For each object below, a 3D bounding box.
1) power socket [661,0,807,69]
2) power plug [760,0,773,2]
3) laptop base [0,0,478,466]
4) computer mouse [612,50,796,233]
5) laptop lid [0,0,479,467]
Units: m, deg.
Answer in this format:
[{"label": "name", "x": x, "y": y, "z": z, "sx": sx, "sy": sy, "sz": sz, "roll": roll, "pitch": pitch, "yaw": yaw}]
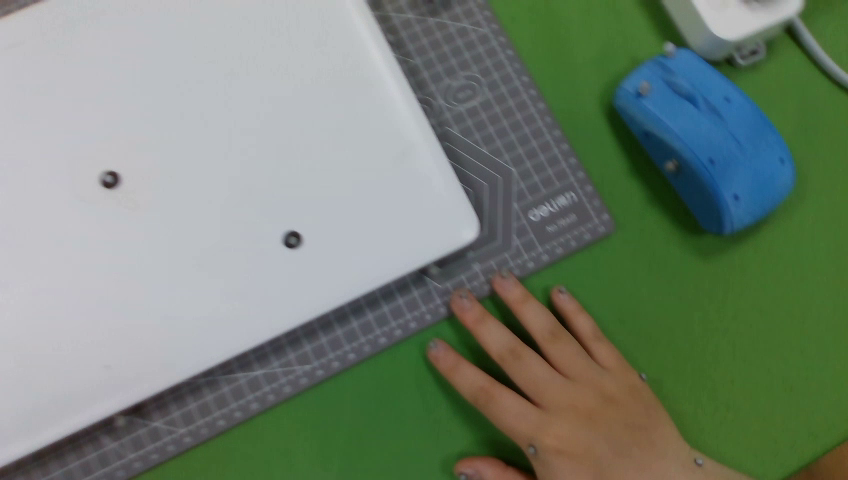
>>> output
[{"label": "power socket", "x": 0.170, "y": -0.219, "z": 0.403, "sx": 0.072, "sy": 0.033, "sz": 0.226, "roll": -24, "pitch": 81, "yaw": -7}, {"label": "power plug", "x": 0.230, "y": -0.169, "z": 0.375, "sx": 0.072, "sy": 0.053, "sz": 0.035, "roll": -13, "pitch": 81, "yaw": -7}, {"label": "laptop base", "x": -0.173, "y": -0.032, "z": 0.352, "sx": 0.354, "sy": 0.023, "sz": 0.235, "roll": -25, "pitch": 85, "yaw": -8}, {"label": "computer mouse", "x": 0.171, "y": -0.064, "z": 0.370, "sx": 0.063, "sy": 0.041, "sz": 0.116, "roll": -31, "pitch": 78, "yaw": -7}, {"label": "laptop lid", "x": -0.172, "y": -0.032, "z": 0.340, "sx": 0.357, "sy": 0.013, "sz": 0.241, "roll": -24, "pitch": 83, "yaw": -8}]
